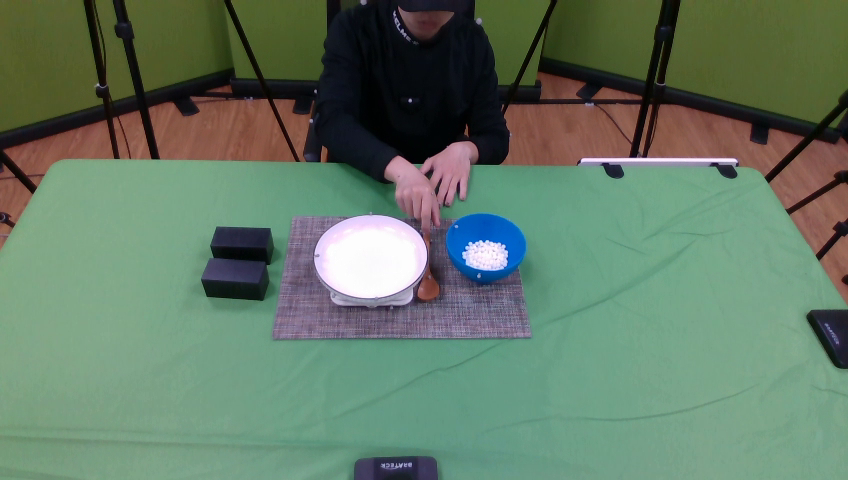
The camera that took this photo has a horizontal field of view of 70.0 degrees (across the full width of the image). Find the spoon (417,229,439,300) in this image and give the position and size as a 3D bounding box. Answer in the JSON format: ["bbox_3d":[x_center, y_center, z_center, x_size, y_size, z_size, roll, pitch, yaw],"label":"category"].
[{"bbox_3d":[0.006,0.043,1.152,0.041,0.022,0.192,-8,45,7],"label":"spoon"}]

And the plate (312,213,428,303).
[{"bbox_3d":[-0.097,0.036,1.100,0.209,0.038,0.208,2,46,-2],"label":"plate"}]

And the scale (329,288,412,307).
[{"bbox_3d":[-0.098,0.042,1.140,0.149,0.032,0.199,1,46,-4],"label":"scale"}]

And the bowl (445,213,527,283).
[{"bbox_3d":[0.112,0.027,1.137,0.151,0.077,0.150,2,46,-2],"label":"bowl"}]
